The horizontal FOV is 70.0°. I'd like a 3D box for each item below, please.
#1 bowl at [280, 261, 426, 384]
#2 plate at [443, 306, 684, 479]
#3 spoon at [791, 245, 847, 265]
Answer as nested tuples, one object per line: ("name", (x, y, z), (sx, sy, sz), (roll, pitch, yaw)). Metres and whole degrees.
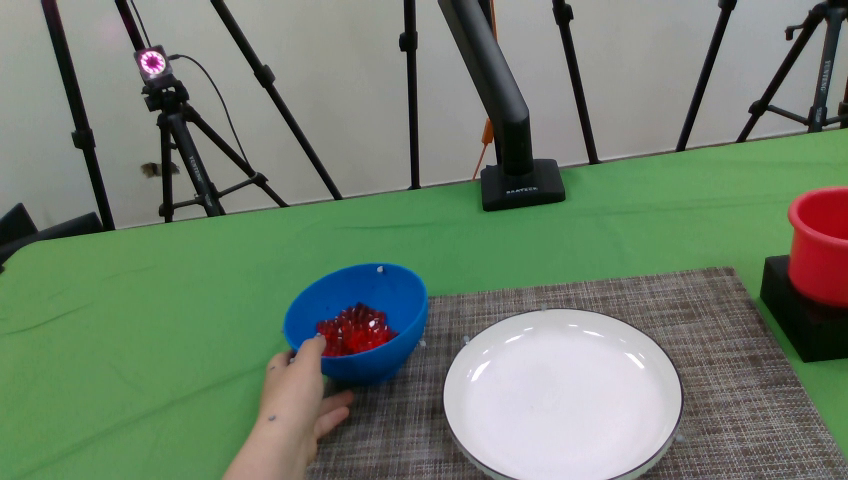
("bowl", (-0.066, 0.097, 0.636), (0.151, 0.077, 0.150), (-8, 33, 6))
("plate", (0.122, 0.140, 0.548), (0.207, 0.039, 0.205), (-9, 33, 6))
("spoon", (0.378, -0.003, 0.495), (0.041, 0.021, 0.194), (-20, -10, -10))
